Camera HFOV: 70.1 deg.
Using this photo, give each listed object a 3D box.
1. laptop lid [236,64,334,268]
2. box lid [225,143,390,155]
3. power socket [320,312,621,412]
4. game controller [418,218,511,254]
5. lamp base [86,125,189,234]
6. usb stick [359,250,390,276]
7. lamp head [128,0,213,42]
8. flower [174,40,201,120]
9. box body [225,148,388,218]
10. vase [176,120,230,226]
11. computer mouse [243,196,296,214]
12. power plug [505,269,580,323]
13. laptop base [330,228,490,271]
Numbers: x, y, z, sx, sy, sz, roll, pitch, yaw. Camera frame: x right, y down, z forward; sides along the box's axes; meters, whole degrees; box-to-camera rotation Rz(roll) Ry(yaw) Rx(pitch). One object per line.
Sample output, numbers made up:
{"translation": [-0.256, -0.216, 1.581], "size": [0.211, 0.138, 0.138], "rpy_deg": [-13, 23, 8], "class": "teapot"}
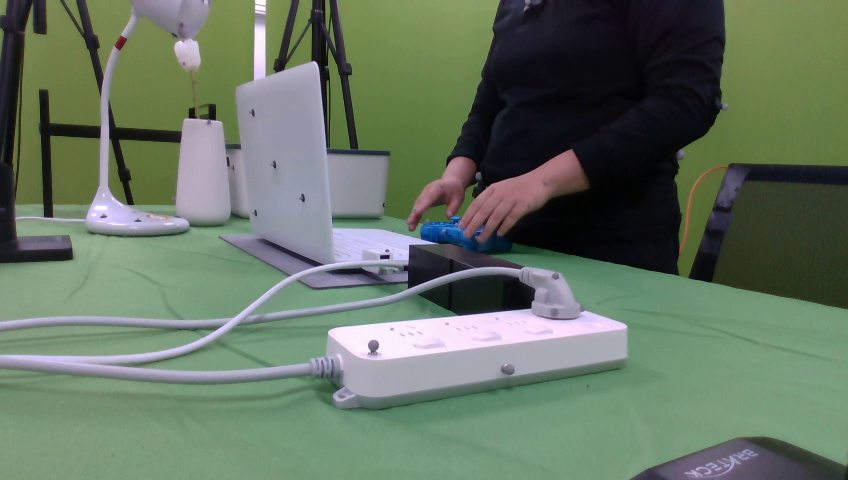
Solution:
{"translation": [-0.202, -0.103, 0.828], "size": [0.013, 0.241, 0.355], "rpy_deg": [-9, 14, -30], "class": "laptop lid"}
{"translation": [-0.296, -0.217, 1.463], "size": [0.373, 0.015, 0.262], "rpy_deg": [-2, 8, -29], "class": "box lid"}
{"translation": [0.038, 0.075, 0.409], "size": [0.228, 0.032, 0.072], "rpy_deg": [-2, 8, -29], "class": "power socket"}
{"translation": [0.063, -0.008, 1.028], "size": [0.154, 0.051, 0.097], "rpy_deg": [9, 14, 44], "class": "game controller"}
{"translation": [-0.497, -0.105, 1.027], "size": [0.179, 0.180, 0.160], "rpy_deg": [1, 7, 3], "class": "lamp base"}
{"translation": [-0.062, 0.026, 0.708], "size": [0.021, 0.027, 0.059], "rpy_deg": [-2, 3, -30], "class": "usb stick"}
{"translation": [-0.423, -0.394, 0.980], "size": [0.123, 0.112, 0.112], "rpy_deg": [20, 7, -3], "class": "lamp head"}
{"translation": [-0.430, -0.211, 1.166], "size": [0.044, 0.361, 0.038], "rpy_deg": [-10, -5, -24], "class": "flower"}
{"translation": [-0.298, -0.143, 1.474], "size": [0.366, 0.160, 0.253], "rpy_deg": [-1, 9, -30], "class": "box body"}
{"translation": [-0.424, -0.128, 1.159], "size": [0.098, 0.200, 0.098], "rpy_deg": [2, 9, 0], "class": "vase"}
{"translation": [-0.362, -0.082, 1.416], "size": [0.117, 0.041, 0.063], "rpy_deg": [-3, 10, 5], "class": "computer mouse"}
{"translation": [0.092, 0.051, 0.470], "size": [0.035, 0.052, 0.072], "rpy_deg": [0, 6, -16], "class": "power plug"}
{"translation": [-0.096, 0.012, 0.912], "size": [0.237, 0.023, 0.352], "rpy_deg": [2, 6, -32], "class": "laptop base"}
